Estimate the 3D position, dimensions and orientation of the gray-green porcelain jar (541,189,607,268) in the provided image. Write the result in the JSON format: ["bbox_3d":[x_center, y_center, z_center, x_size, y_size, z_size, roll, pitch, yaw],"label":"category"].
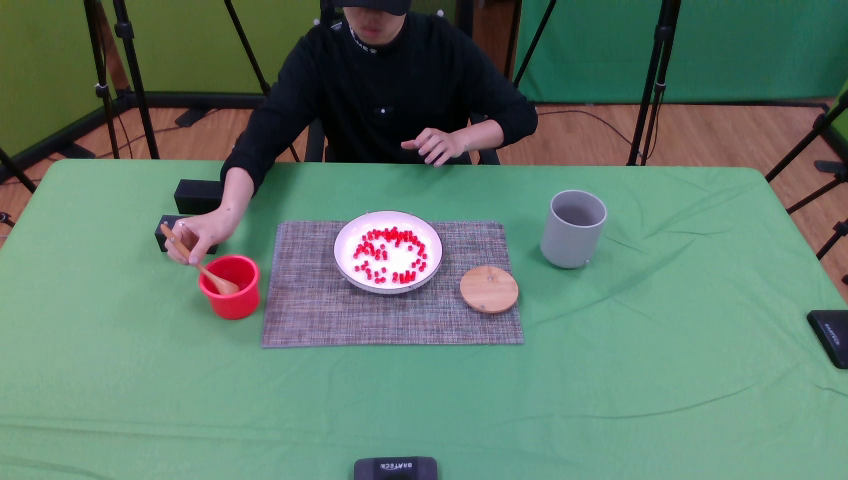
[{"bbox_3d":[0.283,-0.017,1.161,0.106,0.127,0.105,2,46,-2],"label":"gray-green porcelain jar"}]

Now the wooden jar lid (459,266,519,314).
[{"bbox_3d":[0.118,0.093,1.111,0.108,0.021,0.107,2,47,-1],"label":"wooden jar lid"}]

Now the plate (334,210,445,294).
[{"bbox_3d":[-0.066,0.026,1.150,0.208,0.039,0.206,2,46,-2],"label":"plate"}]

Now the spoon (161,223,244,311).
[{"bbox_3d":[-0.373,0.047,1.021,0.021,0.194,0.041,-22,28,41],"label":"spoon"}]
